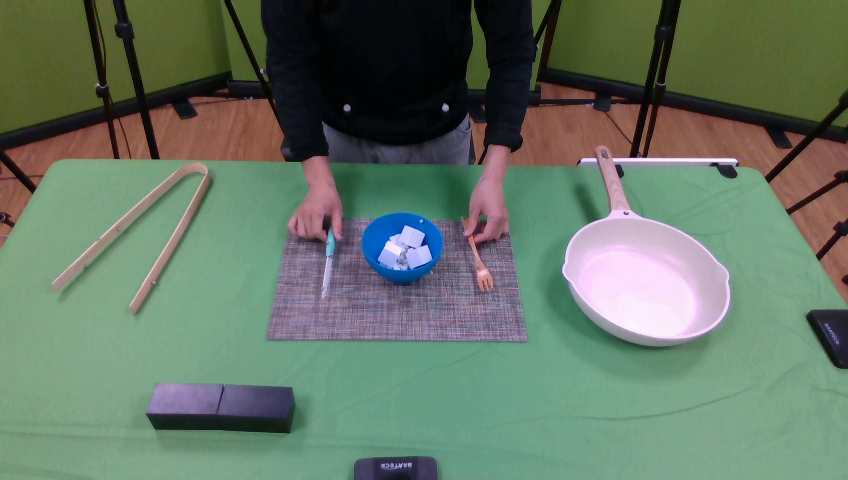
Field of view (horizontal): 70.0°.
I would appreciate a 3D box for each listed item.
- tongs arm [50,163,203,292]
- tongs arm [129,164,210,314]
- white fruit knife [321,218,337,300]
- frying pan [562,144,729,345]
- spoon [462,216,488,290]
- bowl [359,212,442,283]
[{"bbox_3d":[-0.561,-0.036,1.178,0.050,0.026,0.383,16,46,11],"label":"tongs arm"},{"bbox_3d":[-0.483,-0.016,1.170,0.028,0.028,0.385,4,46,4],"label":"tongs arm"},{"bbox_3d":[-0.180,0.030,1.140,0.016,0.027,0.206,-10,46,10],"label":"white fruit knife"},{"bbox_3d":[0.396,-0.008,1.179,0.307,0.103,0.484,1,55,-4],"label":"frying pan"},{"bbox_3d":[0.093,0.021,1.168,0.041,0.022,0.192,-4,51,-1],"label":"spoon"},{"bbox_3d":[-0.044,0.026,1.125,0.151,0.077,0.150,2,46,-2],"label":"bowl"}]
